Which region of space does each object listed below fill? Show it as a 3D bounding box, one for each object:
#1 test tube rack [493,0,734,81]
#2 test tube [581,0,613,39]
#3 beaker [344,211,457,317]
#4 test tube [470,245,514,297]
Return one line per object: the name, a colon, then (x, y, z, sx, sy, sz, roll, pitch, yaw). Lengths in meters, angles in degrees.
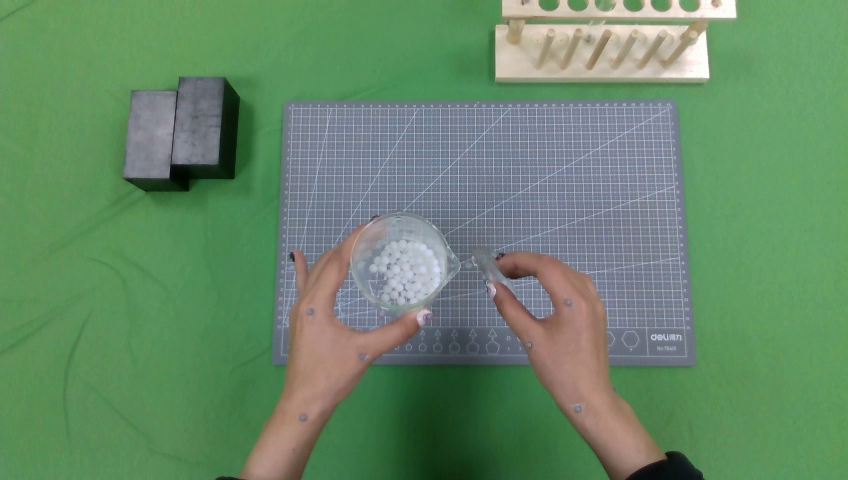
test tube rack: (0.200, -0.225, 0.667, 0.242, 0.085, 0.066, 0, 79, 1)
test tube: (0.189, -0.252, 0.623, 0.017, 0.151, 0.017, 0, 76, -2)
beaker: (-0.018, 0.025, 0.493, 0.084, 0.100, 0.073, 3, 78, -1)
test tube: (0.061, 0.029, 0.521, 0.017, 0.151, 0.017, -4, 74, 15)
